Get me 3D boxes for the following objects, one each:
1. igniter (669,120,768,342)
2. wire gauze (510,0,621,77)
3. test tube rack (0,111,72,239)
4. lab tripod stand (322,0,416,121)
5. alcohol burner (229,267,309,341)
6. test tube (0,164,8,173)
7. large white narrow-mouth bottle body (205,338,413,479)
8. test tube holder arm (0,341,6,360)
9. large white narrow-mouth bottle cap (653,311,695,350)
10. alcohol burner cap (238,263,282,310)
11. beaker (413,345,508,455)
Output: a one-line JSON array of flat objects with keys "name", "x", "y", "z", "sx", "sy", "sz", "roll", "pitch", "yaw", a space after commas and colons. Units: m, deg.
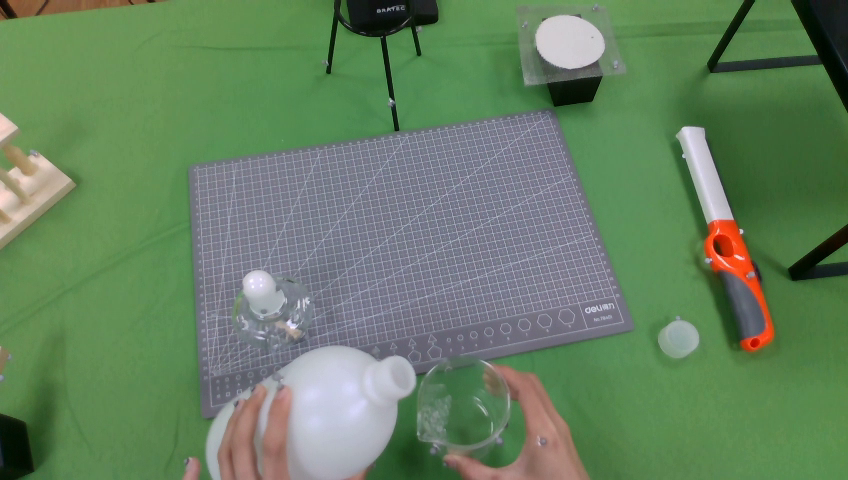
[{"name": "igniter", "x": 0.330, "y": -0.019, "z": 0.685, "sx": 0.057, "sy": 0.025, "sz": 0.274, "roll": 0, "pitch": 65, "yaw": -13}, {"name": "wire gauze", "x": 0.171, "y": -0.253, "z": 0.745, "sx": 0.121, "sy": 0.011, "sz": 0.124, "roll": -3, "pitch": 65, "yaw": -3}, {"name": "test tube rack", "x": -0.506, "y": -0.021, "z": 0.629, "sx": 0.066, "sy": 0.086, "sz": 0.242, "roll": 36, "pitch": 69, "yaw": 14}, {"name": "lab tripod stand", "x": -0.057, "y": -0.236, "z": 0.716, "sx": 0.148, "sy": 0.132, "sz": 0.147, "roll": 1, "pitch": 66, "yaw": -3}, {"name": "alcohol burner", "x": -0.153, "y": 0.056, "z": 0.586, "sx": 0.078, "sy": 0.120, "sz": 0.077, "roll": 1, "pitch": 63, "yaw": -2}, {"name": "test tube", "x": -0.477, "y": -0.106, "z": 0.615, "sx": 0.017, "sy": 0.151, "sz": 0.017, "roll": -1, "pitch": 63, "yaw": 2}, {"name": "large white narrow-mouth bottle body", "x": -0.085, "y": 0.135, "z": 0.482, "sx": 0.194, "sy": 0.102, "sz": 0.101, "roll": -35, "pitch": 61, "yaw": 32}, {"name": "test tube holder arm", "x": -0.405, "y": 0.174, "z": 0.527, "sx": 0.013, "sy": 0.015, "sz": 0.177, "roll": 1, "pitch": 65, "yaw": 6}, {"name": "large white narrow-mouth bottle cap", "x": 0.261, "y": 0.095, "z": 0.635, "sx": 0.038, "sy": 0.024, "sz": 0.037, "roll": 1, "pitch": 65, "yaw": -1}, {"name": "alcohol burner cap", "x": -0.152, "y": 0.040, "z": 0.553, "sx": 0.034, "sy": 0.048, "sz": 0.033, "roll": -1, "pitch": 60, "yaw": 2}, {"name": "beaker", "x": 0.028, "y": 0.144, "z": 0.521, "sx": 0.084, "sy": 0.101, "sz": 0.073, "roll": -35, "pitch": 67, "yaw": -15}]
